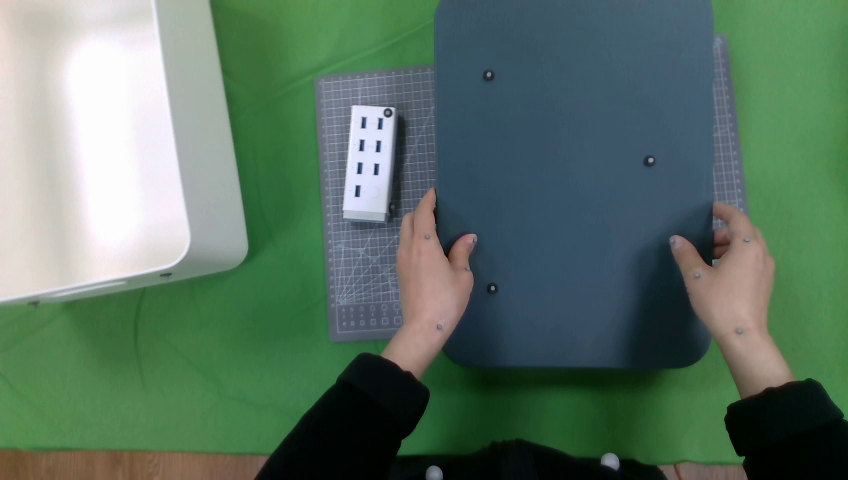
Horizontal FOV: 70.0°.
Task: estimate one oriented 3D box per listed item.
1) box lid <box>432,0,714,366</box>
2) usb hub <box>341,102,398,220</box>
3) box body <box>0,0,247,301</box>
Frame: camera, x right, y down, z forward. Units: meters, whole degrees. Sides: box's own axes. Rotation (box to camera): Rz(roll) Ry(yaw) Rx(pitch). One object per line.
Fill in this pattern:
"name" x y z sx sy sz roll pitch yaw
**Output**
"box lid" 0.139 -0.061 0.579 0.263 0.015 0.371 -1 94 3
"usb hub" -0.059 -0.086 0.658 0.049 0.025 0.125 5 87 5
"box body" -0.344 -0.129 0.621 0.254 0.161 0.363 -11 85 4
